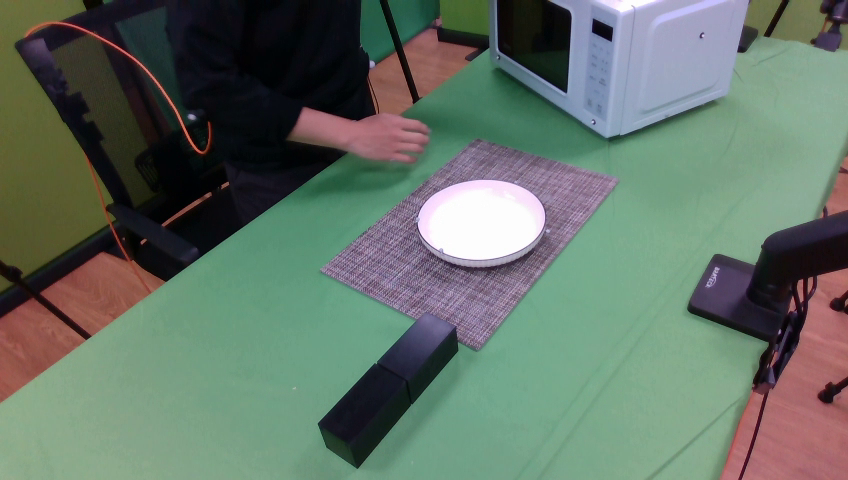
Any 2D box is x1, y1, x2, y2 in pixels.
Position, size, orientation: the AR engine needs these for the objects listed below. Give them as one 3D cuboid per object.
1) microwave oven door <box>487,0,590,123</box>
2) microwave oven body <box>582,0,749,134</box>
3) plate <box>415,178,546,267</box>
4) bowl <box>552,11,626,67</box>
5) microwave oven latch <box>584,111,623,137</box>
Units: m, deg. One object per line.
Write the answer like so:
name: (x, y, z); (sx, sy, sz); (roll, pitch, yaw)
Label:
microwave oven door: (0.232, -0.420, 1.231); (0.039, 0.245, 0.352); (-22, 43, -16)
microwave oven body: (0.382, -0.444, 1.246); (0.327, 0.261, 0.437); (-22, 42, -16)
plate: (0.091, -0.026, 0.970); (0.207, 0.039, 0.206); (-4, 41, 4)
bowl: (0.343, -0.418, 1.278); (0.151, 0.077, 0.150); (-1, 41, 1)
microwave oven latch: (0.337, -0.222, 1.142); (0.030, 0.029, 0.078); (-21, 42, -14)
